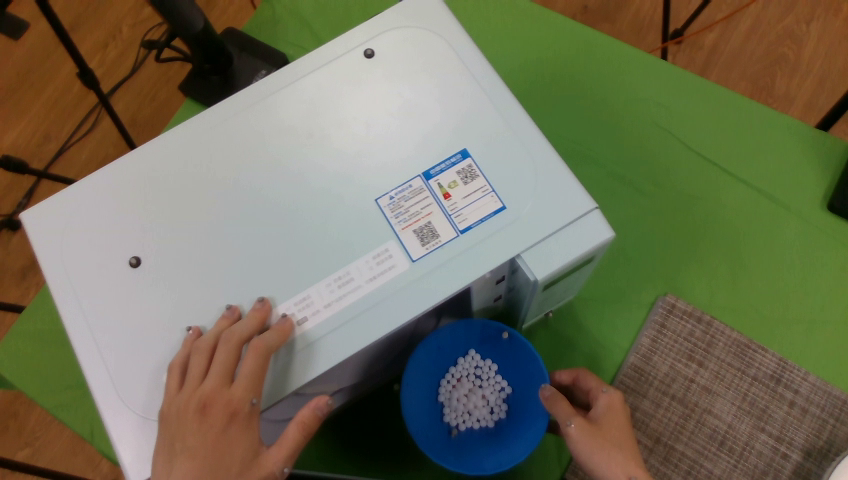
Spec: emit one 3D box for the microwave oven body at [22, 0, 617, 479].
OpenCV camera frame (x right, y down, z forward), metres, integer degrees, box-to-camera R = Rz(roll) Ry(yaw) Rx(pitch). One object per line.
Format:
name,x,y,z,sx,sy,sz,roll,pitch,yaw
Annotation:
microwave oven body,-0.095,0.009,0.637,0.442,0.262,0.324,-31,73,-4

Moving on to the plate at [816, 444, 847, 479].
plate,0.494,0.301,0.613,0.207,0.039,0.206,-1,73,4

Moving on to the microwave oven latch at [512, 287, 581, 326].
microwave oven latch,0.141,0.068,0.701,0.079,0.030,0.030,-29,73,-4

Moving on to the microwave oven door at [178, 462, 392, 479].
microwave oven door,-0.035,0.246,0.553,0.355,0.245,0.039,4,72,6

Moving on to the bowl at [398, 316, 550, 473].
bowl,0.049,0.160,0.627,0.151,0.077,0.150,0,72,0
